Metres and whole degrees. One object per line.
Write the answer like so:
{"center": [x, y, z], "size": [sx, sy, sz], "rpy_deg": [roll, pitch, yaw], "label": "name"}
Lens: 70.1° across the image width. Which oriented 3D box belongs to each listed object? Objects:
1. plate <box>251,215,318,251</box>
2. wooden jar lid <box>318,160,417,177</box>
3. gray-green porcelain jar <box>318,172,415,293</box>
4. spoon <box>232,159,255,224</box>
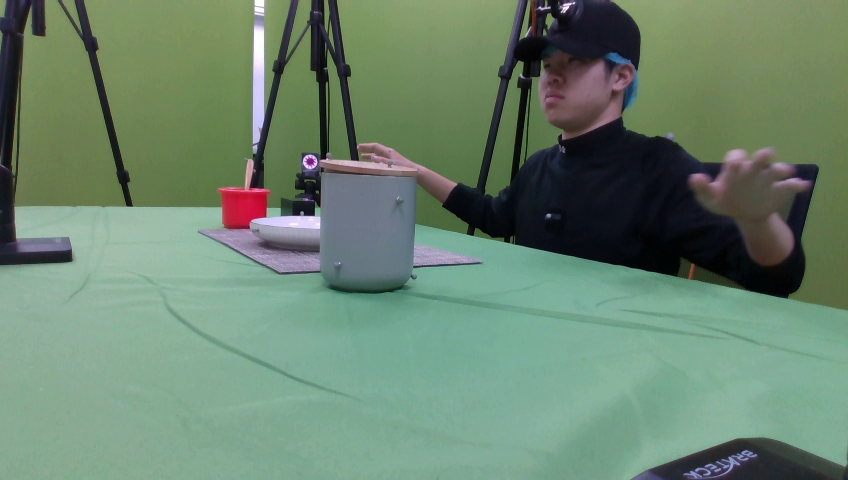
{"center": [-0.170, -0.012, 0.971], "size": [0.208, 0.039, 0.207], "rpy_deg": [3, 7, 0], "label": "plate"}
{"center": [-0.063, -0.073, 0.664], "size": [0.108, 0.020, 0.108], "rpy_deg": [5, 9, 0], "label": "wooden jar lid"}
{"center": [-0.064, -0.010, 0.672], "size": [0.106, 0.126, 0.106], "rpy_deg": [2, 7, 0], "label": "gray-green porcelain jar"}
{"center": [-0.356, -0.101, 1.218], "size": [0.042, 0.021, 0.193], "rpy_deg": [2, 51, -9], "label": "spoon"}
